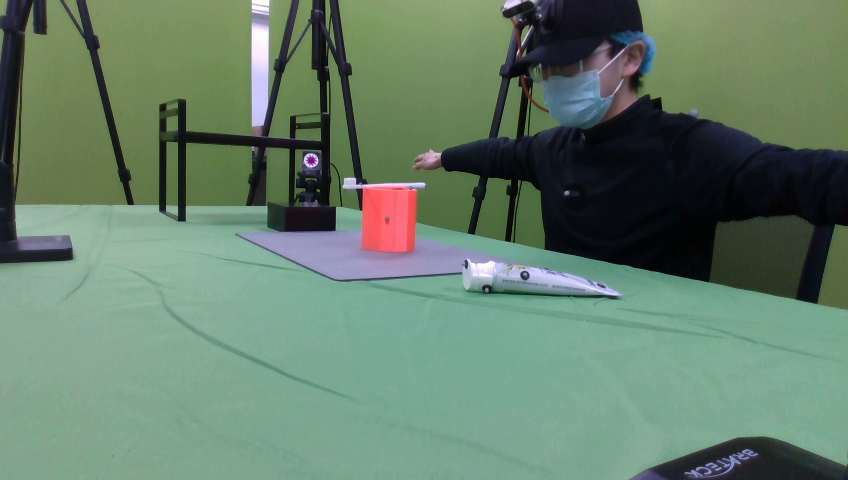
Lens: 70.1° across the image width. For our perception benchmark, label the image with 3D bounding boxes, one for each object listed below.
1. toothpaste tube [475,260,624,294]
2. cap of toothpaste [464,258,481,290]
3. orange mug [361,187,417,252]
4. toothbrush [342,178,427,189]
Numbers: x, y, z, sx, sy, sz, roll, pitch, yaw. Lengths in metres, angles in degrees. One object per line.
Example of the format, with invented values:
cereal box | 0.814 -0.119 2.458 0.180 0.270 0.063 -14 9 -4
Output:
toothpaste tube | 0.134 0.045 0.668 0.165 0.034 0.055 5 14 -7
cap of toothpaste | 0.053 0.037 0.660 0.011 0.037 0.037 -1 8 -15
orange mug | -0.054 -0.039 0.962 0.083 0.101 0.126 2 12 0
toothbrush | -0.058 -0.089 0.948 0.014 0.016 0.183 5 8 41
